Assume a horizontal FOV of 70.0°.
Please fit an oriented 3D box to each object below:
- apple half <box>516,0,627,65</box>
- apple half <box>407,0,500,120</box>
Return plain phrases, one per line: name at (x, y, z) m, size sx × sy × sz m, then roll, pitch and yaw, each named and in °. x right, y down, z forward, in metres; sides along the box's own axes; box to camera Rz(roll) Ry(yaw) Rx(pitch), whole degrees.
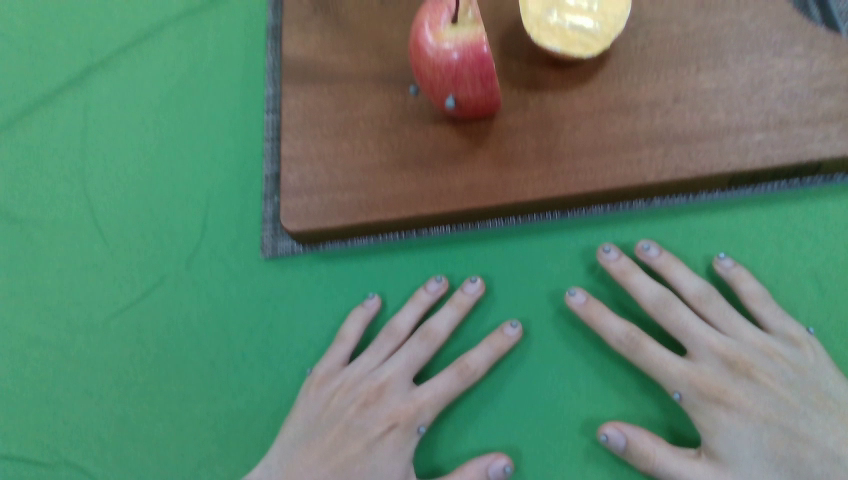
apple half at (0.100, -0.155, 0.428) m, size 0.081 × 0.033 × 0.081 m, roll 0°, pitch 80°, yaw 1°
apple half at (0.017, -0.118, 0.405) m, size 0.053 × 0.075 × 0.080 m, roll -16°, pitch 70°, yaw 7°
